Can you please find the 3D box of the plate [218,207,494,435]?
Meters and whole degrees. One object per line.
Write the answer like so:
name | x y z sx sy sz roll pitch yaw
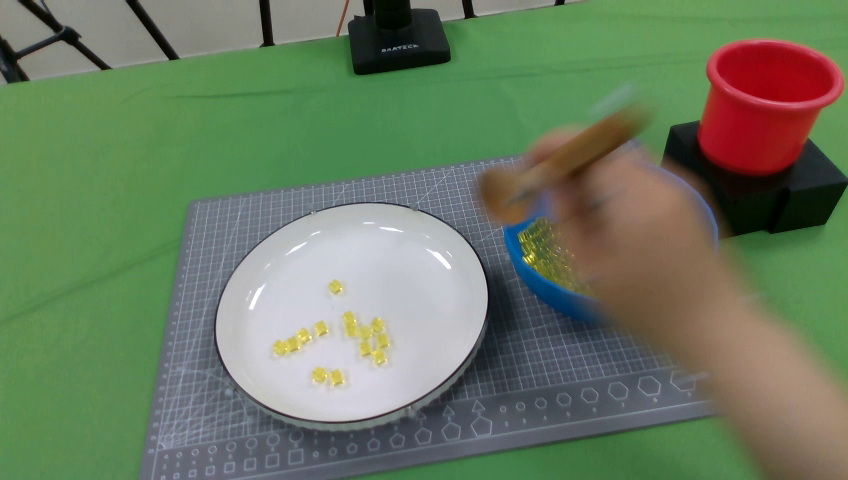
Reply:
plate | -0.050 0.057 0.470 0.207 0.039 0.205 -3 47 3

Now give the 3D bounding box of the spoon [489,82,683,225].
spoon | 0.069 -0.036 0.304 0.021 0.193 0.041 -31 90 -10

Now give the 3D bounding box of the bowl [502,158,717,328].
bowl | 0.134 0.015 0.464 0.151 0.077 0.150 -3 47 3
